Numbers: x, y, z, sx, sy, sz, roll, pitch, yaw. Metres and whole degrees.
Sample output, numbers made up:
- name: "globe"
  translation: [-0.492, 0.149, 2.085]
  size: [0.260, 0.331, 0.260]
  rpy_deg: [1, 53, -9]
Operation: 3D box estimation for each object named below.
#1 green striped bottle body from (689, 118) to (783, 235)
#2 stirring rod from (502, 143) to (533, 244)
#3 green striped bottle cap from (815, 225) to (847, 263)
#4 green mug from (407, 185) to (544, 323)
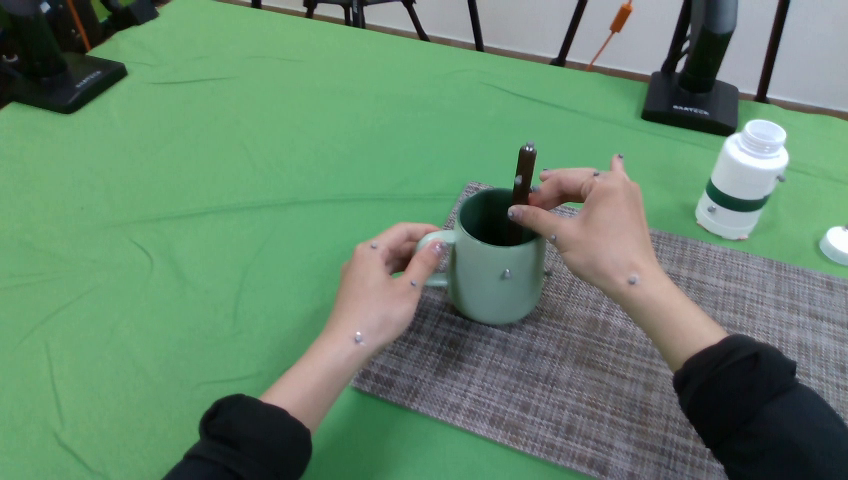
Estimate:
- name: "green striped bottle body"
  translation: [0.328, -0.067, 0.633]
  size: [0.063, 0.120, 0.062]
  rpy_deg: [1, 45, 0]
- name: "stirring rod"
  translation: [0.078, -0.019, 0.528]
  size: [0.014, 0.178, 0.006]
  rpy_deg: [18, 56, 14]
- name: "green striped bottle cap"
  translation: [0.439, 0.004, 0.638]
  size: [0.044, 0.020, 0.044]
  rpy_deg: [1, 42, -1]
- name: "green mug"
  translation: [0.046, 0.016, 0.552]
  size: [0.125, 0.106, 0.091]
  rpy_deg: [-6, 46, -6]
